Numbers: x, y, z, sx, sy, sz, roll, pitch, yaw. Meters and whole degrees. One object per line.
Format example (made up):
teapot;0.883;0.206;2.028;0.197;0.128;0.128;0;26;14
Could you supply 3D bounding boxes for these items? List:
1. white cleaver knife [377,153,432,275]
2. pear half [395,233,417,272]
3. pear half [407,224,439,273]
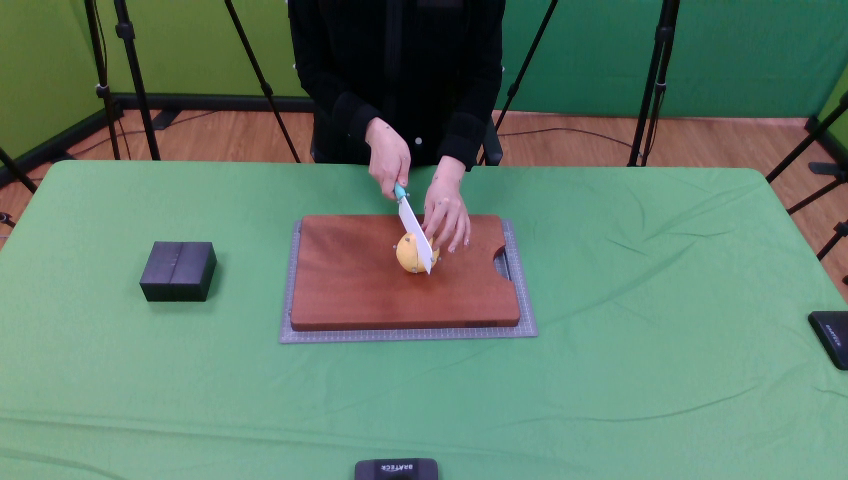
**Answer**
white cleaver knife;-0.039;-0.054;1.091;0.021;0.066;0.284;-9;48;-18
pear half;-0.034;0.022;1.089;0.031;0.088;0.070;-18;55;-17
pear half;0.000;0.007;1.092;0.056;0.110;0.076;-16;55;-17
